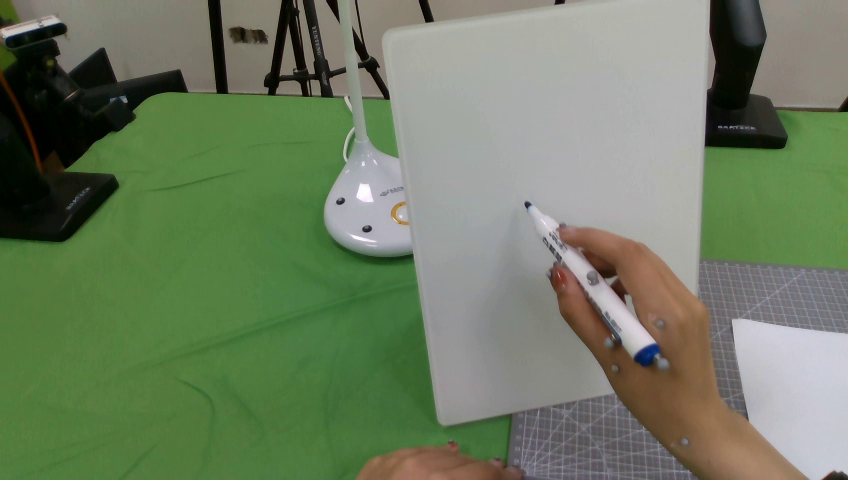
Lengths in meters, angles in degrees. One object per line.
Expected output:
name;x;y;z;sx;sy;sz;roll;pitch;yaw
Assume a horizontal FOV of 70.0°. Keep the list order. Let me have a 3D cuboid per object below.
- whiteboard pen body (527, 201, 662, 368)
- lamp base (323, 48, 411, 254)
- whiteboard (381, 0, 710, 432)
whiteboard pen body;0.098;0.020;0.373;0.017;0.017;0.139;-17;49;-14
lamp base;-0.049;-0.103;0.650;0.161;0.182;0.177;-28;43;-25
whiteboard;0.091;-0.030;0.499;0.217;0.307;0.142;-9;22;-4
